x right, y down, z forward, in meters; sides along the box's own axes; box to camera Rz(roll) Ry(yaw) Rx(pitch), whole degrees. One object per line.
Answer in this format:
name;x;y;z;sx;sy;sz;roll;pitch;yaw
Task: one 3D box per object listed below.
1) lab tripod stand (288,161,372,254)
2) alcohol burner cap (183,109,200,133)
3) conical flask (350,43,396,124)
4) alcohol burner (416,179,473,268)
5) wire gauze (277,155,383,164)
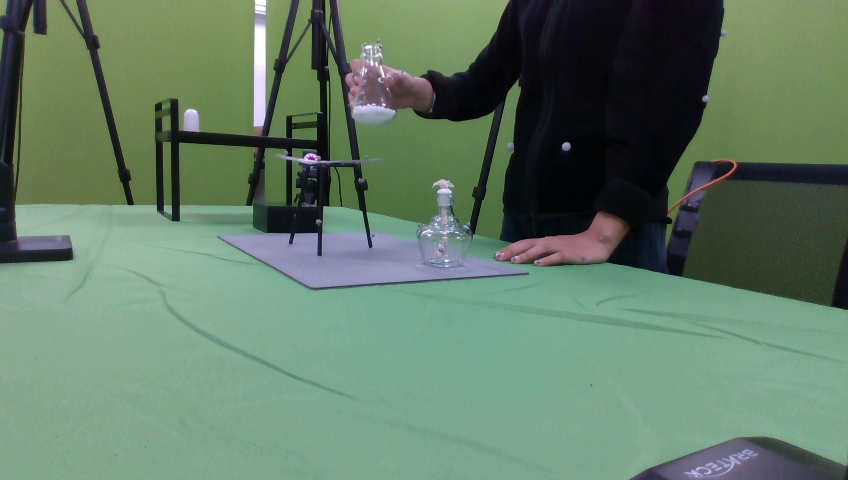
lab tripod stand;-0.148;-0.052;0.908;0.148;0.131;0.148;1;8;0
alcohol burner cap;-0.472;-0.241;1.229;0.034;0.048;0.034;3;8;0
conical flask;-0.085;-0.255;0.981;0.075;0.121;0.075;-3;-7;0
alcohol burner;0.028;-0.022;0.815;0.078;0.119;0.078;0;7;0
wire gauze;-0.142;-0.118;0.899;0.122;0.011;0.124;-3;9;-36
